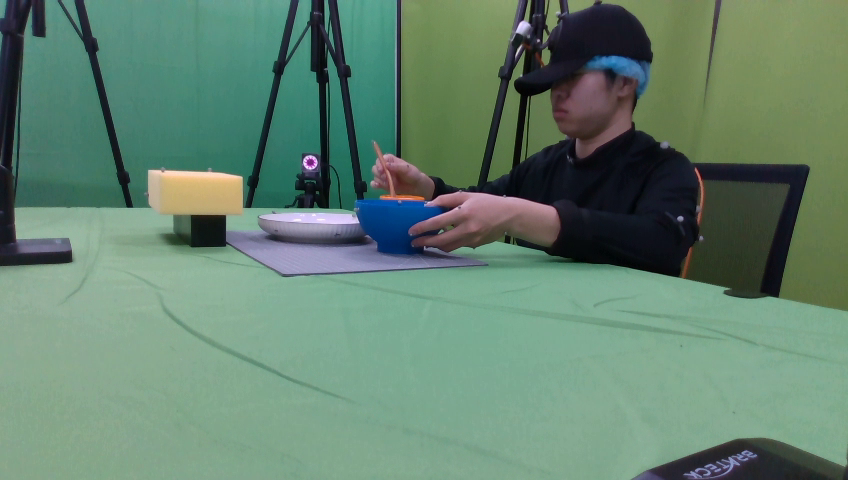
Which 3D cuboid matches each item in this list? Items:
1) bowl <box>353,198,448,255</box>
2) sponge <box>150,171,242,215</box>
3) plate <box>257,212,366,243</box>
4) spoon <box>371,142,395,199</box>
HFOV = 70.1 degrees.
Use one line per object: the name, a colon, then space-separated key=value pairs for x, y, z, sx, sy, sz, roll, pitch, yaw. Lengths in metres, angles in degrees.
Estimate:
bowl: x=-0.038 y=-0.021 z=0.952 sx=0.151 sy=0.077 sz=0.151 roll=3 pitch=8 yaw=0
sponge: x=-0.379 y=-0.079 z=0.994 sx=0.119 sy=0.061 sz=0.206 roll=-1 pitch=8 yaw=-29
plate: x=-0.189 y=-0.023 z=1.072 sx=0.209 sy=0.038 sz=0.209 roll=3 pitch=7 yaw=0
spoon: x=-0.073 y=-0.114 z=1.232 sx=0.021 sy=0.193 sz=0.042 roll=-22 pitch=-13 yaw=26
